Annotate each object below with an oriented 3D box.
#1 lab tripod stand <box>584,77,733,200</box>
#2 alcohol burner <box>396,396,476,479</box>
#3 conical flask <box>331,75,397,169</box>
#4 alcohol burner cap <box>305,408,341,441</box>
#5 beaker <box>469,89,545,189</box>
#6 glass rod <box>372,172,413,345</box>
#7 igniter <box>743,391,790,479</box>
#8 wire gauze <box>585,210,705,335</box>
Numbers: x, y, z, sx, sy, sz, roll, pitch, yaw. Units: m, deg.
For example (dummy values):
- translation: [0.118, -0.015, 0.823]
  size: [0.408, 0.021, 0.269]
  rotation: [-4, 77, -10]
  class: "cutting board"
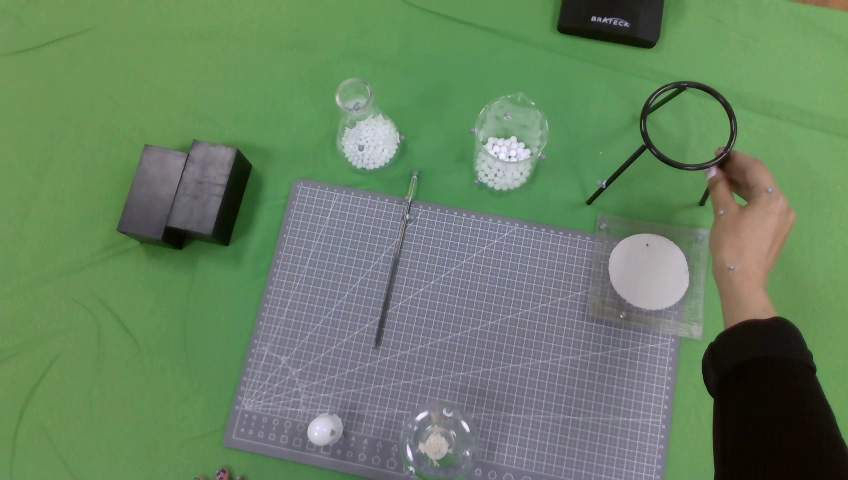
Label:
- translation: [0.244, -0.094, 0.628]
  size: [0.148, 0.132, 0.147]
  rotation: [0, 79, 2]
  class: "lab tripod stand"
- translation: [0.011, 0.189, 0.576]
  size: [0.078, 0.119, 0.077]
  rotation: [0, 78, 2]
  class: "alcohol burner"
- translation: [-0.071, -0.130, 0.648]
  size: [0.075, 0.122, 0.075]
  rotation: [0, 76, 2]
  class: "conical flask"
- translation: [-0.104, 0.188, 0.615]
  size: [0.034, 0.048, 0.033]
  rotation: [0, 77, 1]
  class: "alcohol burner cap"
- translation: [0.086, -0.105, 0.652]
  size: [0.074, 0.101, 0.083]
  rotation: [13, 77, 4]
  class: "beaker"
- translation: [-0.034, 0.017, 0.668]
  size: [0.008, 0.008, 0.199]
  rotation: [11, 77, 3]
  class: "glass rod"
- translation: [0.320, 0.287, 0.595]
  size: [0.057, 0.025, 0.275]
  rotation: [18, 78, -6]
  class: "igniter"
- translation: [0.242, 0.033, 0.661]
  size: [0.125, 0.011, 0.121]
  rotation: [10, 78, 4]
  class: "wire gauze"
